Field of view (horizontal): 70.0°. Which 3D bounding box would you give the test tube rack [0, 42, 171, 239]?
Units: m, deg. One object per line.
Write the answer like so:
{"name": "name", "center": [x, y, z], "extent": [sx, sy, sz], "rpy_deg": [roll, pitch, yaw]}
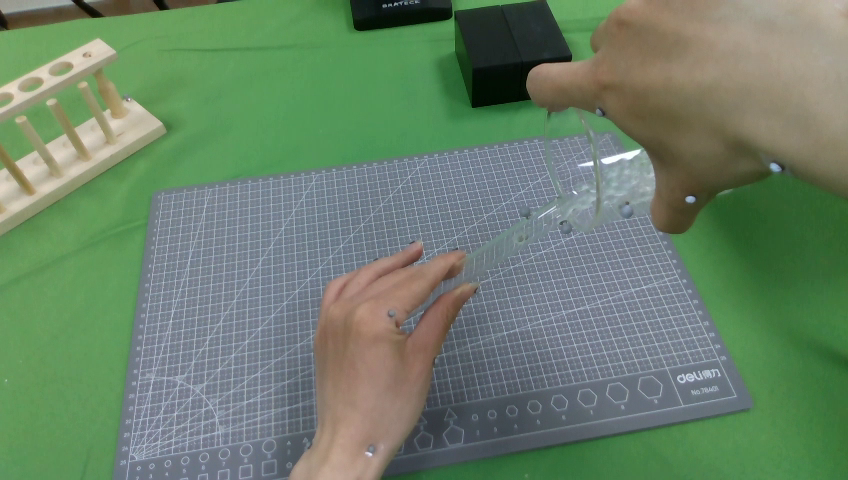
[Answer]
{"name": "test tube rack", "center": [-0.371, -0.079, 0.558], "extent": [0.066, 0.086, 0.242], "rpy_deg": [36, 62, 26]}

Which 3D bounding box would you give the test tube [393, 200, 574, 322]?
{"name": "test tube", "center": [0.032, 0.018, 0.394], "extent": [0.150, 0.017, 0.017], "rpy_deg": [-35, 43, 33]}

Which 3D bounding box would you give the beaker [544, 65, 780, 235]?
{"name": "beaker", "center": [0.125, -0.048, 0.326], "extent": [0.100, 0.085, 0.073], "rpy_deg": [-14, 57, -4]}
